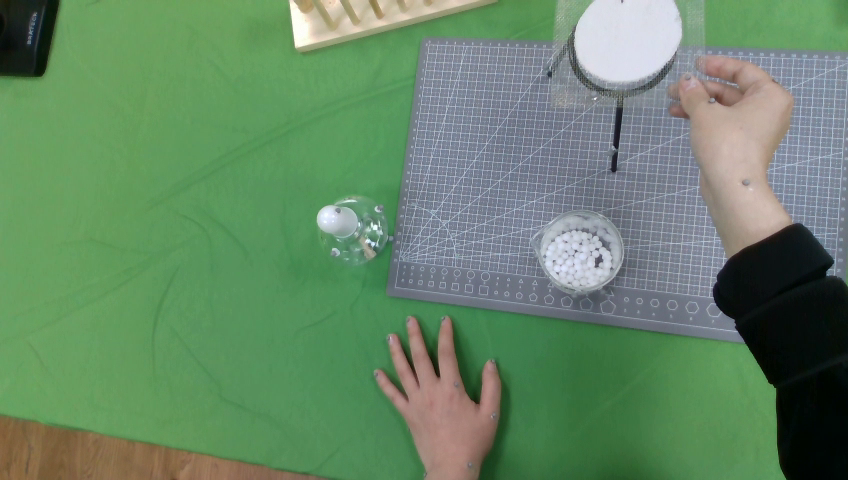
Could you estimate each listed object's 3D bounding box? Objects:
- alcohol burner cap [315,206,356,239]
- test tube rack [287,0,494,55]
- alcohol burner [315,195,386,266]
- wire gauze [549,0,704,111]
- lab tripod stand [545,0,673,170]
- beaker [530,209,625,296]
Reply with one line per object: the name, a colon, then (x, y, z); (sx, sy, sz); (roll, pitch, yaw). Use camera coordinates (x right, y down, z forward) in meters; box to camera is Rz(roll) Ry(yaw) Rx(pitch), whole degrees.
alcohol burner cap: (-0.090, -0.019, 0.596); (0.034, 0.048, 0.034); (-1, 86, 12)
test tube rack: (-0.050, -0.283, 0.675); (0.242, 0.085, 0.066); (-11, 80, 10)
alcohol burner: (-0.082, -0.013, 0.631); (0.078, 0.120, 0.077); (-2, 80, 11)
wire gauze: (0.167, -0.169, 0.507); (0.124, 0.011, 0.121); (1, 85, 26)
lab tripod stand: (0.182, -0.154, 0.581); (0.148, 0.132, 0.148); (-1, 83, 10)
beaker: (0.146, 0.016, 0.584); (0.083, 0.101, 0.074); (13, 84, 15)
